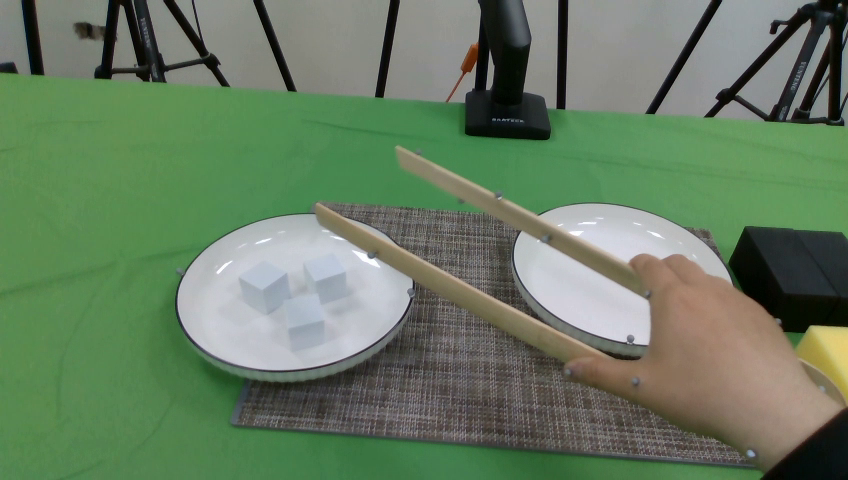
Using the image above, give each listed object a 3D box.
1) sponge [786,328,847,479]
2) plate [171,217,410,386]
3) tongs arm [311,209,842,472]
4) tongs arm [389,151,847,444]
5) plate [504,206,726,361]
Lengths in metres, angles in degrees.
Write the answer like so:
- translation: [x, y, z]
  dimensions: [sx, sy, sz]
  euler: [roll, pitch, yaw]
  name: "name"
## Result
- translation: [0.371, 0.161, 0.444]
  dimensions: [0.118, 0.061, 0.205]
  euler: [1, 39, -2]
  name: "sponge"
- translation: [-0.116, 0.054, 0.552]
  dimensions: [0.209, 0.038, 0.207]
  euler: [2, 38, -2]
  name: "plate"
- translation: [0.065, 0.053, 0.417]
  dimensions: [0.384, 0.028, 0.028]
  euler: [25, 48, 27]
  name: "tongs arm"
- translation: [0.100, 0.022, 0.443]
  dimensions: [0.381, 0.027, 0.050]
  euler: [29, 54, 30]
  name: "tongs arm"
- translation: [0.180, 0.042, 0.591]
  dimensions: [0.208, 0.039, 0.205]
  euler: [2, 39, -2]
  name: "plate"
